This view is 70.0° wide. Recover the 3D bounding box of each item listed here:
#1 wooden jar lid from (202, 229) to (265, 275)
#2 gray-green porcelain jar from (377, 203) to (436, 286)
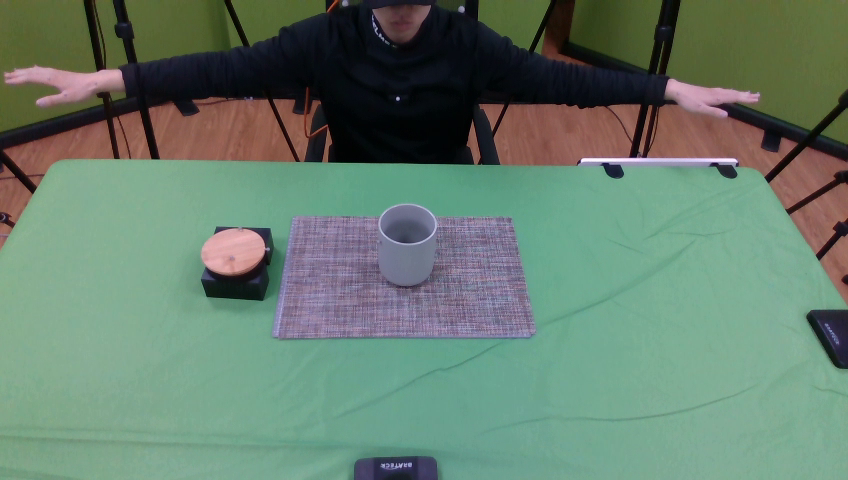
[{"bbox_3d":[-0.340,0.023,1.084,0.108,0.021,0.107,3,45,-2],"label":"wooden jar lid"},{"bbox_3d":[-0.033,0.014,1.106,0.106,0.127,0.105,2,46,-2],"label":"gray-green porcelain jar"}]
